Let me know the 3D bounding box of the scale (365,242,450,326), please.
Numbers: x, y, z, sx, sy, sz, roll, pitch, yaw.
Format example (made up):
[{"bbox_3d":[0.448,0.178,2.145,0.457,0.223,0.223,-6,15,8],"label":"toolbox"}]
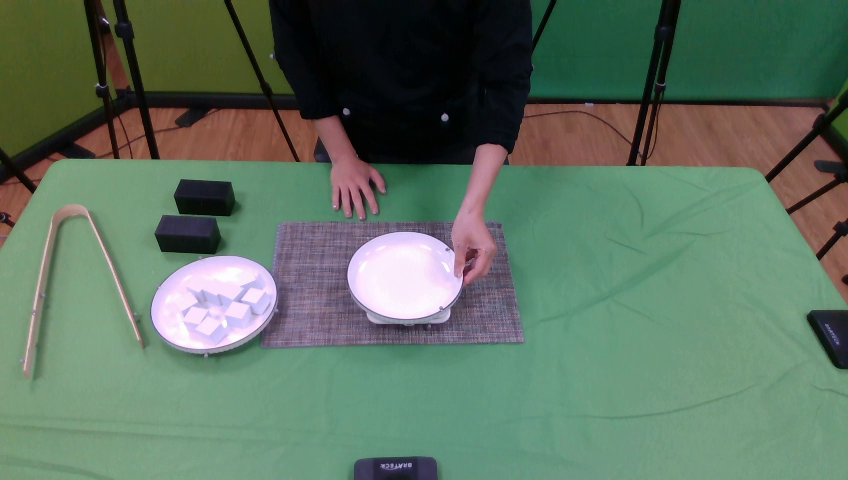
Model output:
[{"bbox_3d":[-0.032,0.071,1.113,0.149,0.032,0.199,0,46,-4],"label":"scale"}]

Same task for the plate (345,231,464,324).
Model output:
[{"bbox_3d":[-0.034,0.069,1.069,0.209,0.038,0.208,2,46,-2],"label":"plate"}]

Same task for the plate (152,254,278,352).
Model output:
[{"bbox_3d":[-0.357,0.111,1.052,0.208,0.039,0.206,2,46,-2],"label":"plate"}]

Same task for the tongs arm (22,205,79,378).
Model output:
[{"bbox_3d":[-0.652,0.074,1.067,0.051,0.026,0.382,-11,46,-15],"label":"tongs arm"}]

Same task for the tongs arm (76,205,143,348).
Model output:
[{"bbox_3d":[-0.570,0.054,1.098,0.028,0.028,0.385,-26,52,-22],"label":"tongs arm"}]
